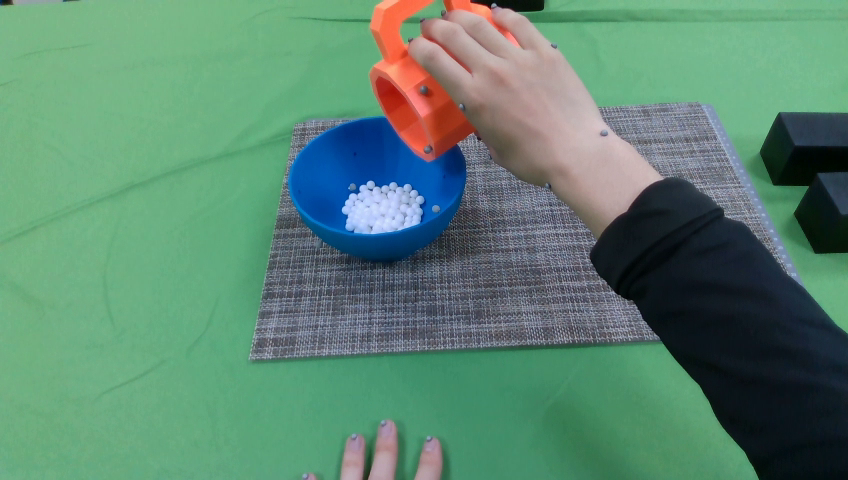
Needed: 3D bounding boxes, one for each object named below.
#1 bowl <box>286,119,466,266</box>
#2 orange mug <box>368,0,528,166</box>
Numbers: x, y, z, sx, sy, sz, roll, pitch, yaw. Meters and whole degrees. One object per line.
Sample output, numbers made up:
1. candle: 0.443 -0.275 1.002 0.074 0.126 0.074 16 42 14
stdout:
1. bowl: -0.038 -0.030 0.534 0.151 0.077 0.150 -2 48 2
2. orange mug: 0.011 -0.134 0.475 0.101 0.127 0.082 -40 40 -9
